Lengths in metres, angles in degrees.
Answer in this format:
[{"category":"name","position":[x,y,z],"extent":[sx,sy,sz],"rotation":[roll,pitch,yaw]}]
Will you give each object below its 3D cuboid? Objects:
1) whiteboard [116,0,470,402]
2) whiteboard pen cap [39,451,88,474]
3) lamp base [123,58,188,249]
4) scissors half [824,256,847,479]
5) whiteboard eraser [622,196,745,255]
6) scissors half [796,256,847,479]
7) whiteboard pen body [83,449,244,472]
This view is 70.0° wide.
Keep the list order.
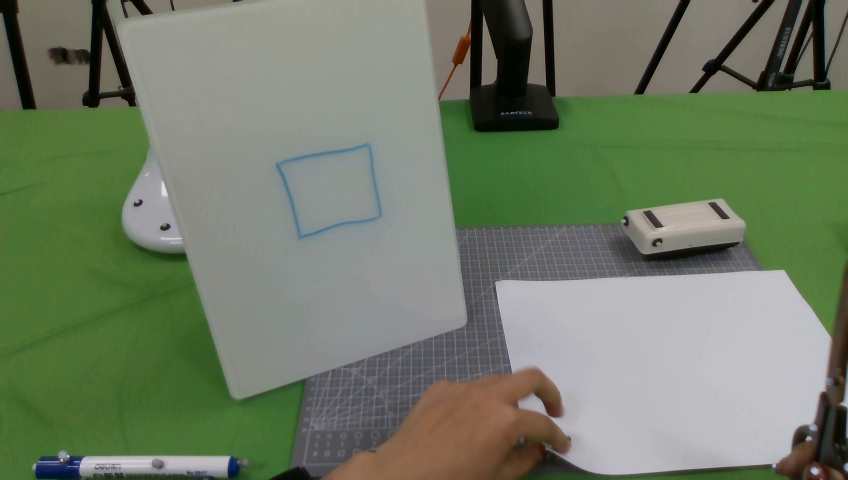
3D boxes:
[{"category":"whiteboard","position":[-0.101,-0.053,0.539],"extent":[0.218,0.307,0.142],"rotation":[-15,23,-15]},{"category":"whiteboard pen cap","position":[-0.265,0.165,0.450],"extent":[0.033,0.018,0.018],"rotation":[0,40,-3]},{"category":"lamp base","position":[-0.274,-0.108,0.661],"extent":[0.177,0.182,0.160],"rotation":[27,47,33]},{"category":"scissors half","position":[0.243,0.096,0.349],"extent":[0.013,0.175,0.040],"rotation":[-4,5,9]},{"category":"whiteboard eraser","position":[0.273,-0.014,0.641],"extent":[0.113,0.042,0.055],"rotation":[-7,41,-7]},{"category":"scissors half","position":[0.246,0.092,0.369],"extent":[0.013,0.176,0.040],"rotation":[-5,21,4]},{"category":"whiteboard pen body","position":[-0.206,0.165,0.452],"extent":[0.141,0.017,0.017],"rotation":[0,40,-2]}]
